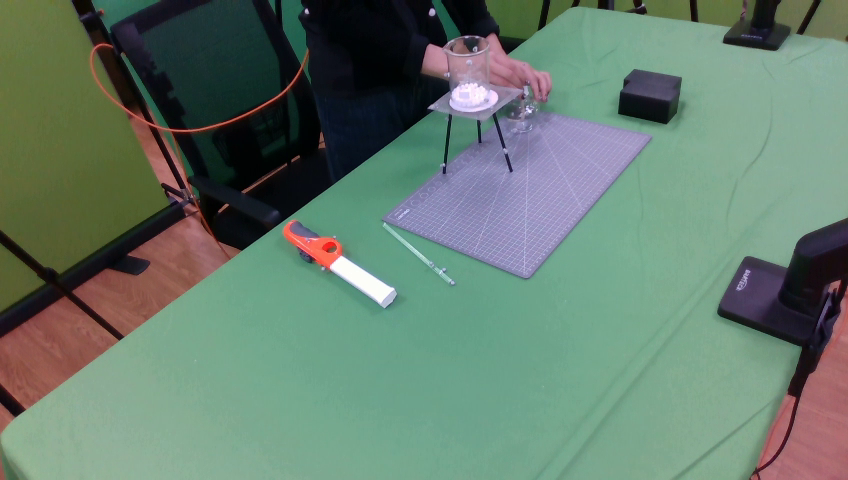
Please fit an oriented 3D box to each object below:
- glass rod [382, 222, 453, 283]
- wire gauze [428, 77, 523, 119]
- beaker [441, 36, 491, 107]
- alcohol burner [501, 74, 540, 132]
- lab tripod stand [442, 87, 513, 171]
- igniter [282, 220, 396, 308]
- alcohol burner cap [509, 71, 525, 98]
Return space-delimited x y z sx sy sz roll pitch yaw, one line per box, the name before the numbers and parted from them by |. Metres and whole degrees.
glass rod | -0.014 0.016 0.976 0.008 0.008 0.198 -30 44 -22
wire gauze | 0.090 -0.249 1.063 0.120 0.011 0.125 24 48 30
beaker | 0.074 -0.287 1.036 0.084 0.101 0.073 -1 41 8
alcohol burner | 0.190 -0.275 1.194 0.078 0.119 0.077 -4 42 5
lab tripod stand | 0.097 -0.200 1.108 0.148 0.132 0.147 -4 40 4
igniter | -0.146 0.032 0.966 0.274 0.025 0.057 30 64 37
alcohol burner cap | 0.180 -0.303 1.172 0.034 0.048 0.033 -3 40 3
